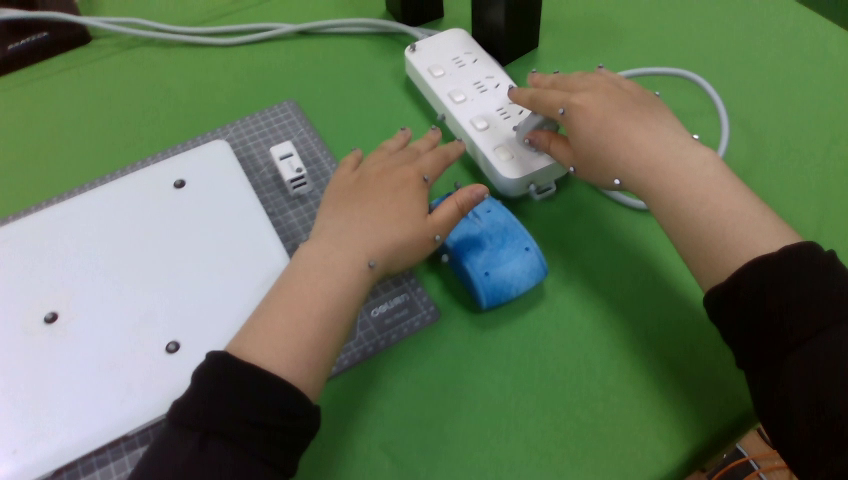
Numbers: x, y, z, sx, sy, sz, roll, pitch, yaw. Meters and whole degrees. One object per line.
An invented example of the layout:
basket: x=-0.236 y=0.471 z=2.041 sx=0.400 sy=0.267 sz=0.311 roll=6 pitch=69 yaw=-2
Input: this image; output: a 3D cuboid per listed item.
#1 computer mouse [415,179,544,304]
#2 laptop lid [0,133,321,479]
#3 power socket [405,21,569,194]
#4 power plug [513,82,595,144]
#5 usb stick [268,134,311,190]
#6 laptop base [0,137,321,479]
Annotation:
computer mouse: x=0.042 y=-0.006 z=0.482 sx=0.063 sy=0.041 sz=0.116 roll=-26 pitch=54 yaw=-12
laptop lid: x=-0.281 y=0.058 z=0.460 sx=0.357 sy=0.013 sz=0.239 roll=-25 pitch=59 yaw=-12
power socket: x=0.053 y=-0.132 z=0.569 sx=0.072 sy=0.033 sz=0.224 roll=-25 pitch=57 yaw=-11
power plug: x=0.113 y=-0.100 z=0.519 sx=0.072 sy=0.053 sz=0.035 roll=-10 pitch=56 yaw=-5
usb stick: x=-0.123 y=-0.074 z=0.545 sx=0.021 sy=0.027 sz=0.058 roll=-26 pitch=55 yaw=-10
laptop base: x=-0.281 y=0.063 z=0.471 sx=0.354 sy=0.023 sz=0.233 roll=-26 pitch=61 yaw=-14
